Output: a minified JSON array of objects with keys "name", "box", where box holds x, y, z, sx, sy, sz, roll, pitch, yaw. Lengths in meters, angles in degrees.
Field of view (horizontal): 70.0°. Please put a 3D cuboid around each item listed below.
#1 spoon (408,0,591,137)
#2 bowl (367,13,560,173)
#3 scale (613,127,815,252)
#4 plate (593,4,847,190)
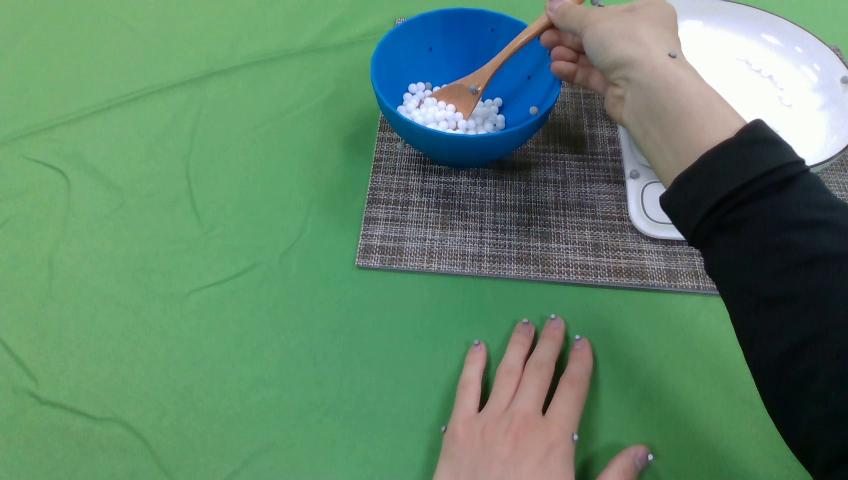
[{"name":"spoon","box":[0.065,-0.141,0.467,0.194,0.022,0.041,-37,68,19]},{"name":"bowl","box":[0.030,-0.109,0.502,0.151,0.077,0.150,1,56,-1]},{"name":"scale","box":[0.238,-0.081,0.517,0.148,0.032,0.199,4,56,1]},{"name":"plate","box":[0.241,-0.119,0.503,0.209,0.038,0.207,1,56,-2]}]
